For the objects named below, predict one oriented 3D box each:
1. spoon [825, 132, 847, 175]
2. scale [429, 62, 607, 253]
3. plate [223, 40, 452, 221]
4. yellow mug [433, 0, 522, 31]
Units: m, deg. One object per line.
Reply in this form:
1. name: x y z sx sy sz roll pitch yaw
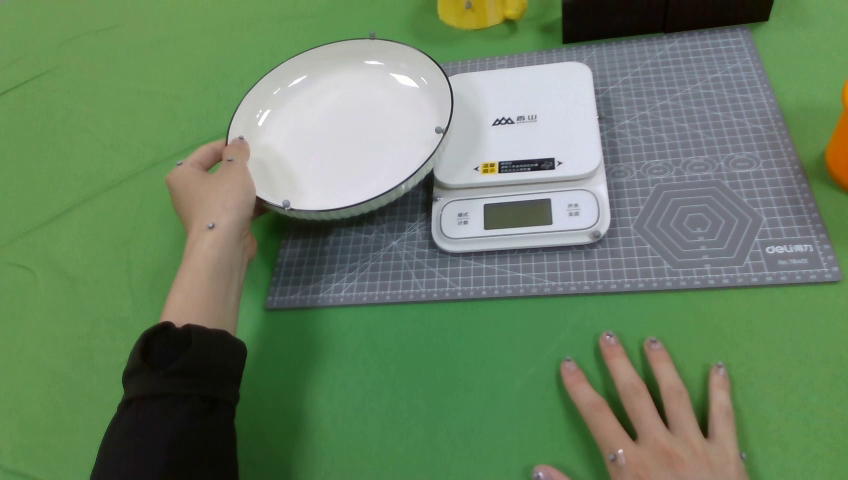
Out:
1. spoon: 0.382 -0.102 0.419 0.022 0.194 0.041 19 54 -28
2. scale: 0.080 -0.080 0.546 0.148 0.032 0.199 -4 55 11
3. plate: -0.076 -0.099 0.550 0.209 0.038 0.207 -5 57 8
4. yellow mug: 0.063 -0.288 0.682 0.100 0.064 0.129 -39 56 -14
